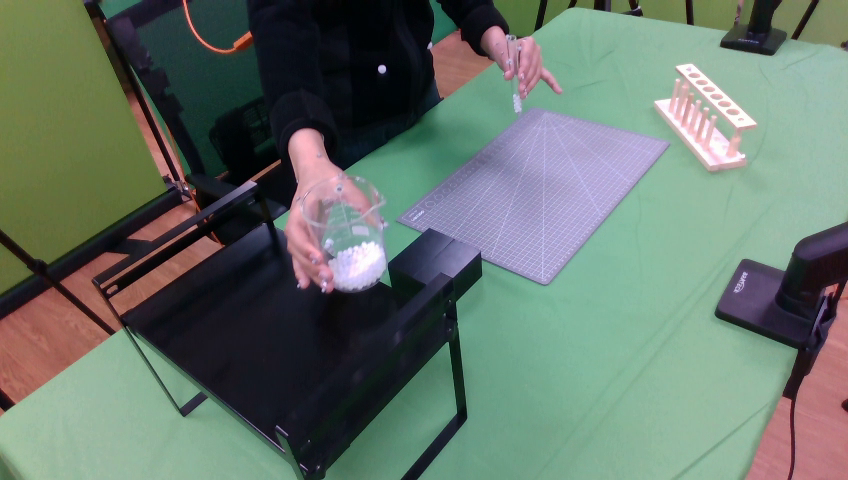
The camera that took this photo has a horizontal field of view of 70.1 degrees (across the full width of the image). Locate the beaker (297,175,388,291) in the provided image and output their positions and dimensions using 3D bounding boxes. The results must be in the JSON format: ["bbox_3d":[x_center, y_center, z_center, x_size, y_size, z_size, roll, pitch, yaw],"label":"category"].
[{"bbox_3d":[-0.075,-0.004,0.609,0.084,0.101,0.073,-5,46,2],"label":"beaker"}]

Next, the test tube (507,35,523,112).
[{"bbox_3d":[0.151,-0.270,0.996,0.017,0.151,0.017,-7,52,9],"label":"test tube"}]

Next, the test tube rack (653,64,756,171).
[{"bbox_3d":[0.510,-0.233,1.119,0.067,0.085,0.241,-8,41,-2],"label":"test tube rack"}]
